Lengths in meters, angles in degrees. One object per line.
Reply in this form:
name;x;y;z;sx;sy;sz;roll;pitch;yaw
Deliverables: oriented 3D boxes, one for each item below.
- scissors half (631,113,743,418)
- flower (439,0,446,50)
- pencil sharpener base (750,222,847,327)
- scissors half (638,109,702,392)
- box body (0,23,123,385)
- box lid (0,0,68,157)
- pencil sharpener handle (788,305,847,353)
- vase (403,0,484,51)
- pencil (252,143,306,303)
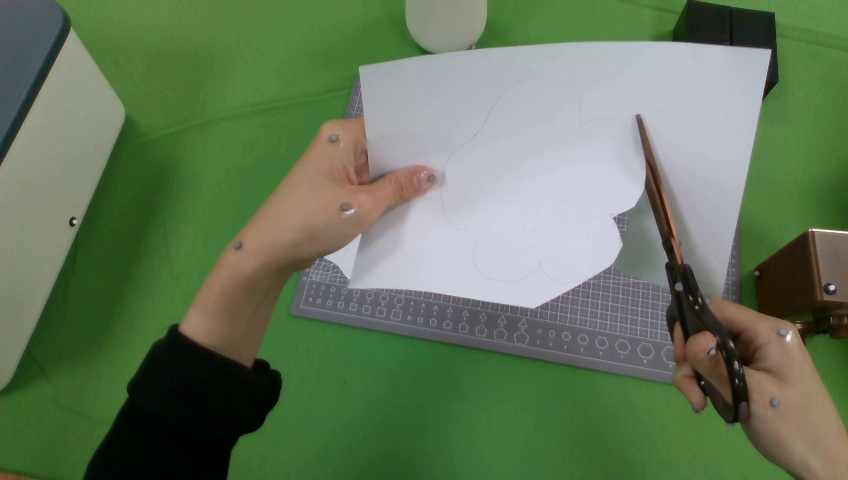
scissors half;0.142;0.012;0.333;0.013;0.040;0.174;-16;83;1
flower;0.016;-0.348;0.590;0.044;0.365;0.038;3;50;5
pencil sharpener base;0.366;0.040;0.574;0.061;0.108;0.076;5;68;2
scissors half;0.143;0.010;0.354;0.013;0.040;0.176;-15;107;6
box body;-0.488;-0.052;0.581;0.254;0.161;0.361;9;68;4
box lid;-0.488;-0.082;0.512;0.263;0.015;0.369;10;68;4
pencil sharpener handle;0.357;0.082;0.544;0.036;0.068;0.030;10;68;-11
vase;0.021;-0.303;0.662;0.098;0.201;0.097;0;67;1
pencil;-0.153;-0.024;0.653;0.012;0.012;0.193;10;67;5
